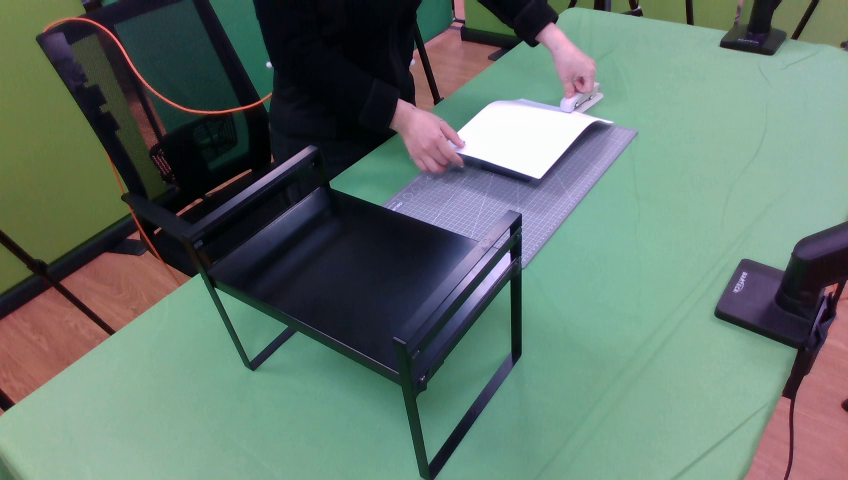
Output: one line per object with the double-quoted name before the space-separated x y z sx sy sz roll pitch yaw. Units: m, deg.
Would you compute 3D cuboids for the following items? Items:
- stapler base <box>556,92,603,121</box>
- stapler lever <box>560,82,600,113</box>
"stapler base" 0.325 -0.287 1.261 0.041 0.024 0.131 29 50 33
"stapler lever" 0.323 -0.299 1.252 0.026 0.040 0.118 29 60 33
